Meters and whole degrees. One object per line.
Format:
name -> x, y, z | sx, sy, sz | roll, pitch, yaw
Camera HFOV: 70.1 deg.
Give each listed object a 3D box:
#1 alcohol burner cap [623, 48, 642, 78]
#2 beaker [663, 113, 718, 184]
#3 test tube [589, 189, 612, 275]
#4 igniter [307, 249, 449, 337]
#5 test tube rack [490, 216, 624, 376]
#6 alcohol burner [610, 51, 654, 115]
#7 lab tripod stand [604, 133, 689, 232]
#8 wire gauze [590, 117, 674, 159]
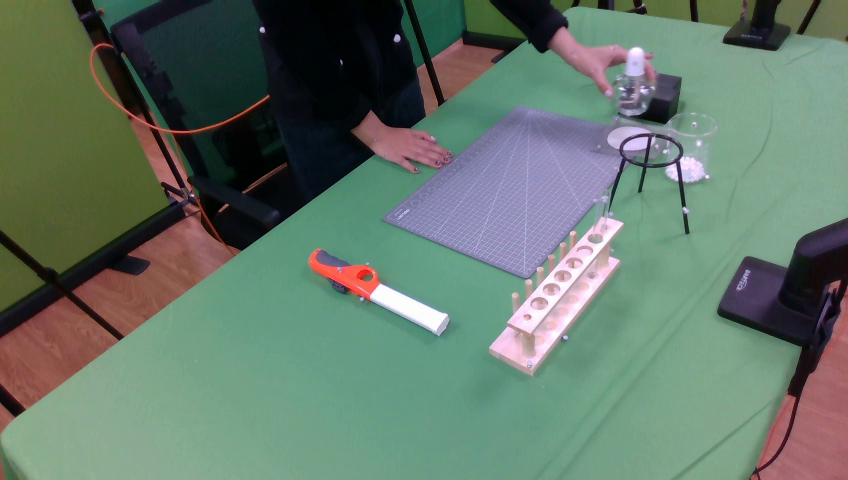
alcohol burner cap -> 0.367, -0.312, 1.060 | 0.034, 0.048, 0.033 | -6, 35, 5
beaker -> 0.442, -0.151, 1.018 | 0.084, 0.101, 0.074 | -1, 40, 11
test tube -> 0.238, -0.007, 0.818 | 0.017, 0.151, 0.017 | -3, 43, 4
igniter -> -0.079, 0.073, 0.905 | 0.274, 0.025, 0.057 | 23, 61, 32
test tube rack -> 0.184, 0.064, 0.822 | 0.066, 0.085, 0.243 | 24, 50, 33
alcohol burner -> 0.374, -0.285, 1.083 | 0.078, 0.120, 0.077 | -6, 43, 6
lab tripod stand -> 0.347, -0.086, 0.932 | 0.148, 0.132, 0.147 | -4, 40, 4
wire gauze -> 0.393, -0.192, 1.139 | 0.120, 0.011, 0.125 | 19, 47, 28
